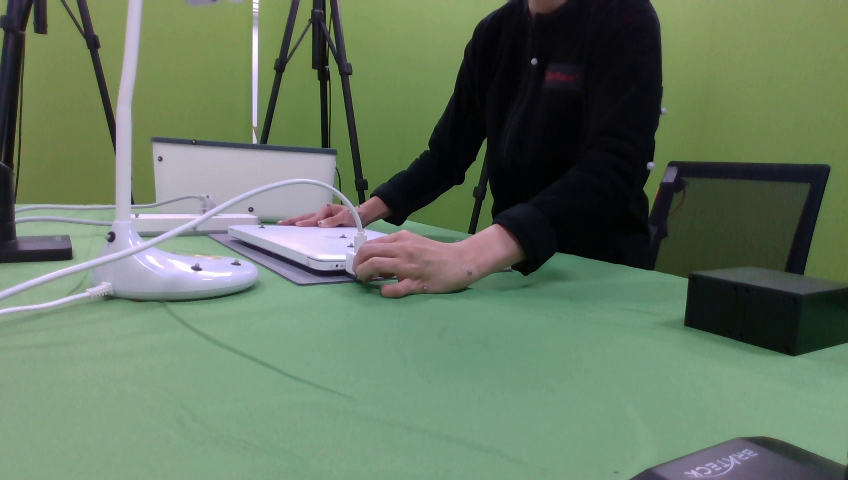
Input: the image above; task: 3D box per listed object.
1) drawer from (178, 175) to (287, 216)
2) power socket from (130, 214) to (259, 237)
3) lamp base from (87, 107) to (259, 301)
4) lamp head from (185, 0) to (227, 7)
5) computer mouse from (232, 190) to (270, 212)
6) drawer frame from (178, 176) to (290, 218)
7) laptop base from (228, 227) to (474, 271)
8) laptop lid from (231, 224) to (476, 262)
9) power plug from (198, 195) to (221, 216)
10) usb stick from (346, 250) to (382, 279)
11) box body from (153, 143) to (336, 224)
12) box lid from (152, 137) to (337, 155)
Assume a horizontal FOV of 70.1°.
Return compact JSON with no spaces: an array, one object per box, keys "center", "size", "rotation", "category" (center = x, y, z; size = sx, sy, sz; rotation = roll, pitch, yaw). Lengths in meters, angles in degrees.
[{"center":[-0.414,-0.104,1.341],"size":[0.212,0.073,0.194],"rotation":[5,6,-11],"category":"drawer"},{"center":[-0.396,-0.027,1.048],"size":[0.228,0.032,0.072],"rotation":[-3,8,-35],"category":"power socket"},{"center":[-0.254,-0.039,0.603],"size":[0.160,0.180,0.179],"rotation":[4,10,18],"category":"lamp base"},{"center":[-0.228,-0.320,0.627],"size":[0.112,0.112,0.123],"rotation":[6,-36,26],"category":"lamp head"},{"center":[-0.382,-0.086,1.343],"size":[0.063,0.041,0.117],"rotation":[10,10,-4],"category":"computer mouse"},{"center":[-0.409,-0.099,1.340],"size":[0.214,0.082,0.201],"rotation":[-4,7,-10],"category":"drawer frame"},{"center":[-0.122,0.011,0.889],"size":[0.237,0.023,0.352],"rotation":[2,6,-35],"category":"laptop base"},{"center":[-0.119,0.001,0.888],"size":[0.243,0.013,0.355],"rotation":[1,7,-33],"category":"laptop lid"},{"center":[-0.385,-0.055,1.088],"size":[0.035,0.052,0.072],"rotation":[-2,7,-24],"category":"power plug"},{"center":[-0.071,0.027,0.685],"size":[0.021,0.027,0.059],"rotation":[-9,10,-35],"category":"usb stick"},{"center":[-0.380,-0.130,1.343],"size":[0.365,0.160,0.253],"rotation":[1,7,-9],"category":"box body"},{"center":[-0.379,-0.203,1.334],"size":[0.372,0.015,0.262],"rotation":[3,7,-9],"category":"box lid"}]
